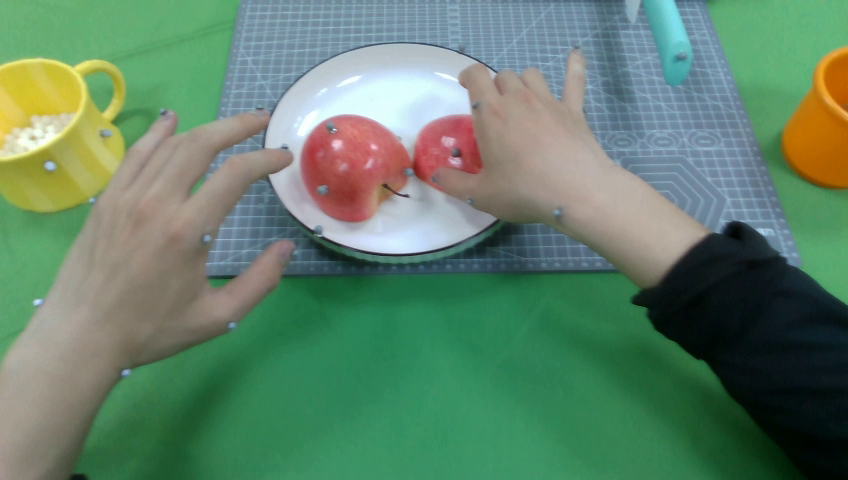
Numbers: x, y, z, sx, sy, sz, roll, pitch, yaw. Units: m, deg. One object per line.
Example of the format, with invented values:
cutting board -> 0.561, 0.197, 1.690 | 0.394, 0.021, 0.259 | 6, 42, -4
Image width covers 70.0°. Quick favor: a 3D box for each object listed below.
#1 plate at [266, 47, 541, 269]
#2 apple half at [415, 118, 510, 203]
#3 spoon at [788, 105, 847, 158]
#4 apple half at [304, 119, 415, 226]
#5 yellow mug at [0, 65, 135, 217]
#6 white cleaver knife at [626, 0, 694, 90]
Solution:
plate -> -0.015, -0.065, 0.474 | 0.209, 0.038, 0.207 | 0, 60, 0
apple half -> 0.029, -0.070, 0.468 | 0.081, 0.033, 0.080 | 0, 62, 0
spoon -> 0.369, -0.116, 0.441 | 0.022, 0.193, 0.041 | 24, 47, -37
apple half -> -0.050, -0.059, 0.451 | 0.081, 0.054, 0.074 | -40, 64, -20
yellow mug -> -0.282, -0.088, 0.475 | 0.099, 0.064, 0.130 | 30, 63, 17
white cleaver knife -> 0.200, -0.237, 0.557 | 0.021, 0.066, 0.283 | -3, 56, 4
